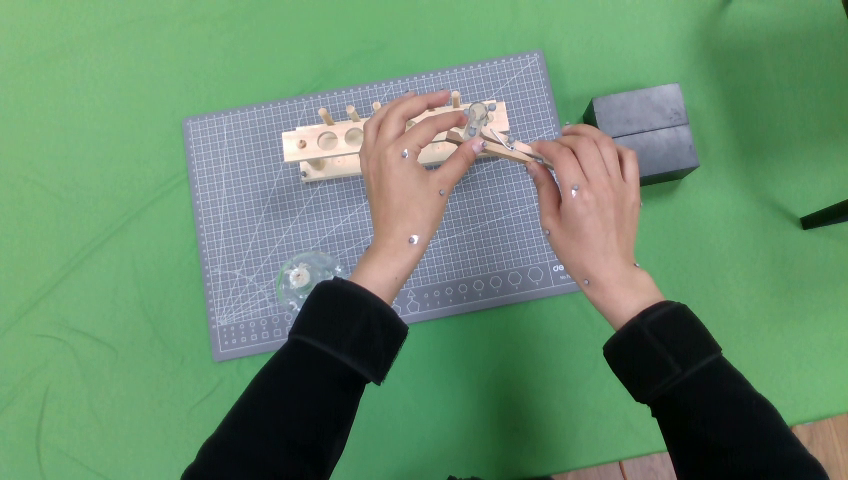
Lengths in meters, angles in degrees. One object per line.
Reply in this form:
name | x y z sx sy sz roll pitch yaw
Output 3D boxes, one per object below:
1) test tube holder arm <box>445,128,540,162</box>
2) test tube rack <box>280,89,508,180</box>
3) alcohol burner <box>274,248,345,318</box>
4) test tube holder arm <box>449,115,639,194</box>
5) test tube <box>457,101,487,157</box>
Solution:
test tube holder arm | 0.062 -0.085 0.543 0.088 0.015 0.010 14 97 1
test tube rack | -0.033 -0.127 0.689 0.242 0.085 0.066 -8 80 0
alcohol burner | -0.126 0.044 0.651 0.078 0.119 0.077 0 79 1
test tube holder arm | 0.107 -0.076 0.541 0.178 0.015 0.013 19 97 1
test tube | 0.041 -0.096 0.541 0.017 0.150 0.017 0 86 0
